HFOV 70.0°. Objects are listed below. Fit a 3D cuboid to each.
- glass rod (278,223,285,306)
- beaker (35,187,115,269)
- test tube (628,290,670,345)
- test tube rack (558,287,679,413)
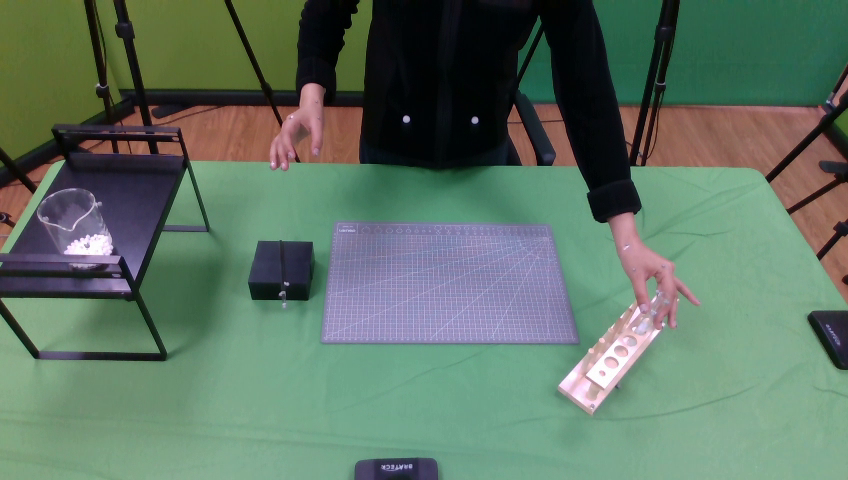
[{"bbox_3d":[-0.255,0.039,1.081,0.008,0.008,0.198,-7,47,-10],"label":"glass rod"},{"bbox_3d":[-0.493,-0.012,0.867,0.074,0.101,0.083,-18,51,-18],"label":"beaker"},{"bbox_3d":[0.354,0.127,0.960,0.017,0.151,0.017,3,50,-3],"label":"test tube"},{"bbox_3d":[0.326,0.170,1.009,0.066,0.085,0.242,36,54,26],"label":"test tube rack"}]
